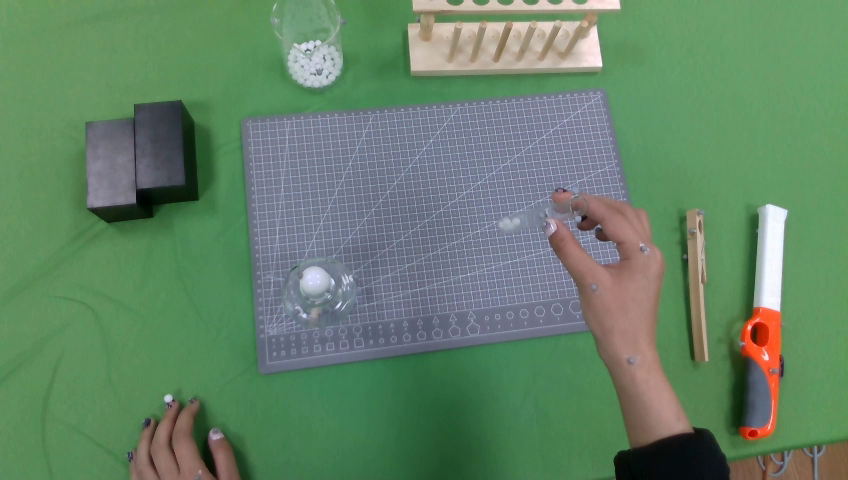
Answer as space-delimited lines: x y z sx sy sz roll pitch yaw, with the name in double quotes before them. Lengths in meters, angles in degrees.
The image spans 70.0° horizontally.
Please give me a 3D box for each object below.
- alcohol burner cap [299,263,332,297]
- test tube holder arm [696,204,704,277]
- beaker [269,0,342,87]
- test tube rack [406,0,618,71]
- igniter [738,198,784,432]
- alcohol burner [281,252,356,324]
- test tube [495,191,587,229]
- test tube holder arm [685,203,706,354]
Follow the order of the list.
"alcohol burner cap" -0.106 0.038 0.584 0.034 0.048 0.033 1 80 -6
"test tube holder arm" 0.324 0.001 0.722 0.010 0.015 0.087 13 74 -33
"beaker" -0.132 -0.228 0.697 0.074 0.100 0.083 -4 76 -6
"test tube rack" 0.103 -0.258 0.732 0.243 0.085 0.066 -3 76 -6
"igniter" 0.392 0.084 0.702 0.057 0.025 0.275 15 75 -11
"alcohol burner" -0.109 0.045 0.620 0.078 0.119 0.077 2 74 -6
"test tube" 0.094 -0.023 0.515 0.017 0.150 0.017 1 85 -16
"test tube holder arm" 0.317 0.044 0.708 0.013 0.015 0.177 12 74 -33
